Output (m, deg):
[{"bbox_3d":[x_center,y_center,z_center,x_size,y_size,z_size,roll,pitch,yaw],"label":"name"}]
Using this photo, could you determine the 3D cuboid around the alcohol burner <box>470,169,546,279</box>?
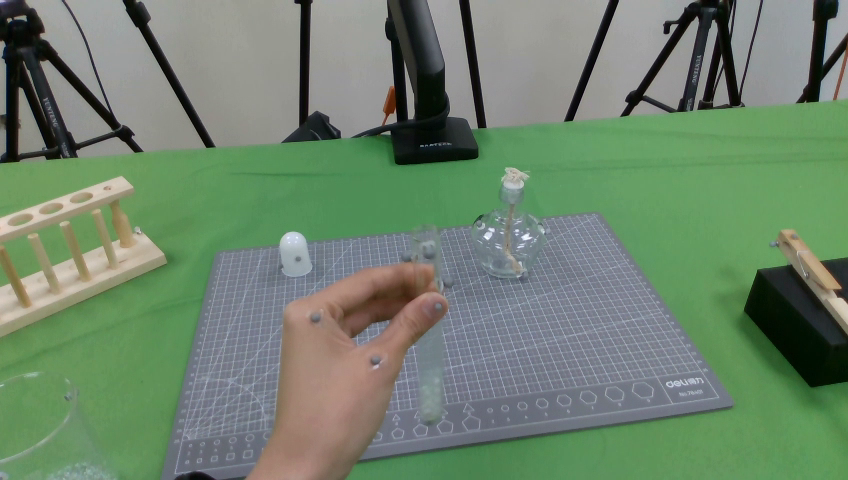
[{"bbox_3d":[0.086,-0.020,0.616,0.078,0.120,0.077,0,35,0],"label":"alcohol burner"}]

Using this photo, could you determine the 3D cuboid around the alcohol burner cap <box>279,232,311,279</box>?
[{"bbox_3d":[-0.138,0.014,0.639,0.034,0.048,0.033,-1,35,1],"label":"alcohol burner cap"}]

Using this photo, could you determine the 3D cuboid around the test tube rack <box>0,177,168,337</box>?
[{"bbox_3d":[-0.395,0.027,0.599,0.242,0.086,0.066,-28,43,-33],"label":"test tube rack"}]

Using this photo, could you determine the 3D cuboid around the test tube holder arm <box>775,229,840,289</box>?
[{"bbox_3d":[0.344,0.019,0.545,0.015,0.010,0.087,-1,36,2],"label":"test tube holder arm"}]

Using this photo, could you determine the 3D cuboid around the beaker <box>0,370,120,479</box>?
[{"bbox_3d":[-0.258,0.149,0.407,0.084,0.101,0.073,-1,35,2],"label":"beaker"}]

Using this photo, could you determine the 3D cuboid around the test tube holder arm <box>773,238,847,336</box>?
[{"bbox_3d":[0.343,0.049,0.512,0.015,0.013,0.176,-1,36,2],"label":"test tube holder arm"}]

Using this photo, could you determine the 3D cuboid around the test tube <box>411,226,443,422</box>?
[{"bbox_3d":[0.002,0.056,0.352,0.017,0.151,0.017,0,37,1],"label":"test tube"}]
